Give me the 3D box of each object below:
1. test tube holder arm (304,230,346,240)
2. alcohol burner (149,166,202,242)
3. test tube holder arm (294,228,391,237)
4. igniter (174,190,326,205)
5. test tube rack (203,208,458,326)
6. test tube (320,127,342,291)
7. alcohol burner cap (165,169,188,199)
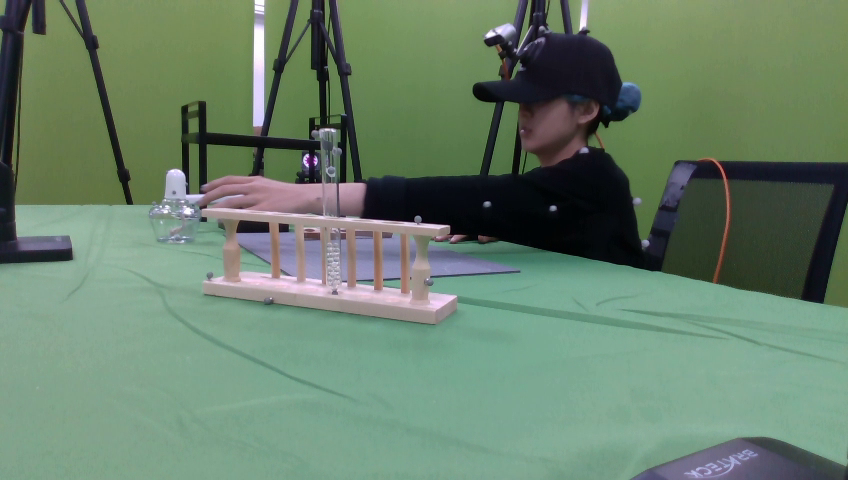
[{"bbox_3d":[-0.175,-0.008,1.027,0.088,0.015,0.010,0,44,-32],"label":"test tube holder arm"},{"bbox_3d":[-0.388,-0.056,0.948,0.078,0.119,0.078,5,7,0],"label":"alcohol burner"},{"bbox_3d":[-0.138,-0.013,1.054,0.179,0.015,0.013,-1,44,-32],"label":"test tube holder arm"},{"bbox_3d":[-0.318,-0.079,1.132,0.278,0.025,0.057,-4,12,-32],"label":"igniter"},{"bbox_3d":[-0.090,0.019,0.579,0.241,0.085,0.067,5,7,19],"label":"test tube rack"},{"bbox_3d":[-0.085,-0.027,0.554,0.017,0.150,0.017,-1,7,0],"label":"test tube"},{"bbox_3d":[-0.386,-0.087,0.943,0.034,0.048,0.034,4,7,0],"label":"alcohol burner cap"}]
